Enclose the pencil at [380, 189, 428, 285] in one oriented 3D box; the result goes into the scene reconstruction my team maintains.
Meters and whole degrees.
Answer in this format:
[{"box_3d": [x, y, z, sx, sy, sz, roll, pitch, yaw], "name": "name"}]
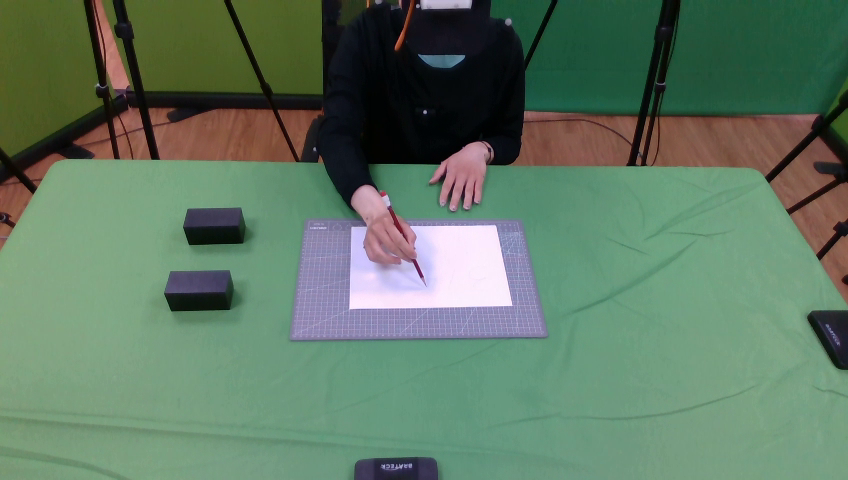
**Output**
[{"box_3d": [-0.034, -0.003, 1.095, 0.012, 0.194, 0.012, -24, 12, 6], "name": "pencil"}]
